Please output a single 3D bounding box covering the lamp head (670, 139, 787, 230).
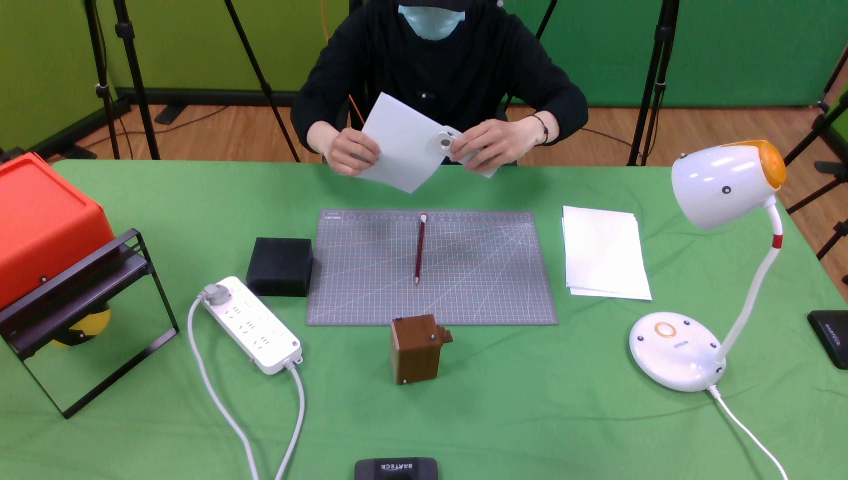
[{"bbox_3d":[0.415,-0.079,0.812,0.113,0.123,0.112,13,70,-37],"label":"lamp head"}]

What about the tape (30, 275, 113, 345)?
[{"bbox_3d":[-0.594,0.117,1.021,0.117,0.053,0.116,2,45,-2],"label":"tape"}]

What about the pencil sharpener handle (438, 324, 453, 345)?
[{"bbox_3d":[0.036,0.155,0.976,0.031,0.068,0.036,-8,69,-11],"label":"pencil sharpener handle"}]

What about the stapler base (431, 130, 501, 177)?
[{"bbox_3d":[0.075,-0.159,1.081,0.131,0.041,0.024,27,46,-16],"label":"stapler base"}]

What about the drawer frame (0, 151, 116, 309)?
[{"bbox_3d":[-0.604,-0.013,0.876,0.201,0.083,0.213,31,52,23],"label":"drawer frame"}]

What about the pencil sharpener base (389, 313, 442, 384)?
[{"bbox_3d":[-0.013,0.175,0.971,0.077,0.107,0.061,-8,47,-11],"label":"pencil sharpener base"}]

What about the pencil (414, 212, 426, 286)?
[{"bbox_3d":[-0.008,0.014,1.190,0.012,0.012,0.193,5,48,1],"label":"pencil"}]

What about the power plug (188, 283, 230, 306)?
[{"bbox_3d":[-0.368,0.099,1.037,0.072,0.053,0.035,-24,52,-26],"label":"power plug"}]

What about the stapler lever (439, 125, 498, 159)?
[{"bbox_3d":[0.077,-0.170,1.092,0.118,0.027,0.040,19,48,-23],"label":"stapler lever"}]

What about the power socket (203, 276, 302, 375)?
[{"bbox_3d":[-0.297,0.141,1.034,0.072,0.033,0.225,-34,58,-30],"label":"power socket"}]

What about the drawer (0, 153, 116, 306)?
[{"bbox_3d":[-0.601,-0.015,0.880,0.193,0.073,0.211,32,53,23],"label":"drawer"}]

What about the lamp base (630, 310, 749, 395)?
[{"bbox_3d":[0.447,0.142,0.984,0.161,0.181,0.178,-24,55,-24],"label":"lamp base"}]
